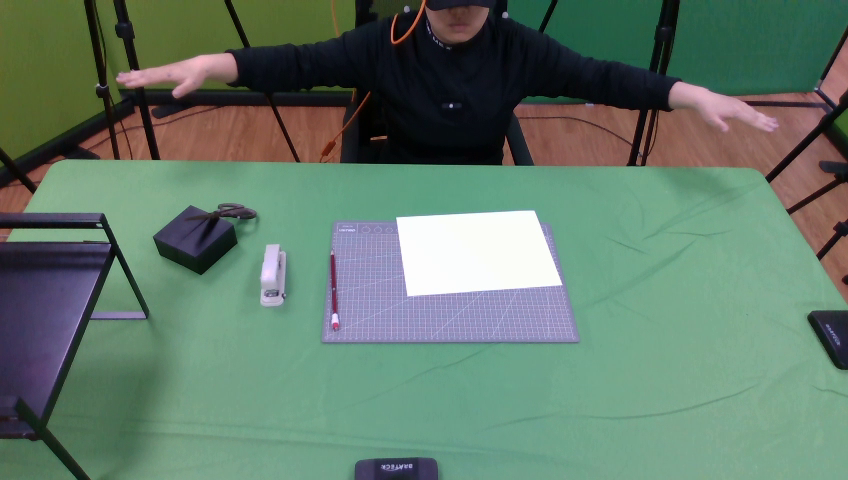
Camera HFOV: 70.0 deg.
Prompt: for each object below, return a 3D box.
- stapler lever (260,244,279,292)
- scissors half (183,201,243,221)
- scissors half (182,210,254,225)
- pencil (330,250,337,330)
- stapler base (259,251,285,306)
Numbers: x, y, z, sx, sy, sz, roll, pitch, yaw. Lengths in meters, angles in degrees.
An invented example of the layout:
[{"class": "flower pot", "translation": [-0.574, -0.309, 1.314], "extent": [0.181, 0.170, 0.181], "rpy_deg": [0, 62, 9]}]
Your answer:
[{"class": "stapler lever", "translation": [-0.279, 0.045, 1.096], "extent": [0.027, 0.040, 0.117], "rpy_deg": [-2, 44, -9]}, {"class": "scissors half", "translation": [-0.405, -0.054, 1.163], "extent": [0.040, 0.013, 0.175], "rpy_deg": [30, 18, 7]}, {"class": "scissors half", "translation": [-0.390, -0.042, 1.158], "extent": [0.040, 0.013, 0.175], "rpy_deg": [41, 22, 21]}, {"class": "pencil", "translation": [-0.167, 0.086, 1.107], "extent": [0.012, 0.012, 0.192], "rpy_deg": [-3, 45, -7]}, {"class": "stapler base", "translation": [-0.279, 0.064, 1.113], "extent": [0.041, 0.024, 0.129], "rpy_deg": [-2, 44, -9]}]
